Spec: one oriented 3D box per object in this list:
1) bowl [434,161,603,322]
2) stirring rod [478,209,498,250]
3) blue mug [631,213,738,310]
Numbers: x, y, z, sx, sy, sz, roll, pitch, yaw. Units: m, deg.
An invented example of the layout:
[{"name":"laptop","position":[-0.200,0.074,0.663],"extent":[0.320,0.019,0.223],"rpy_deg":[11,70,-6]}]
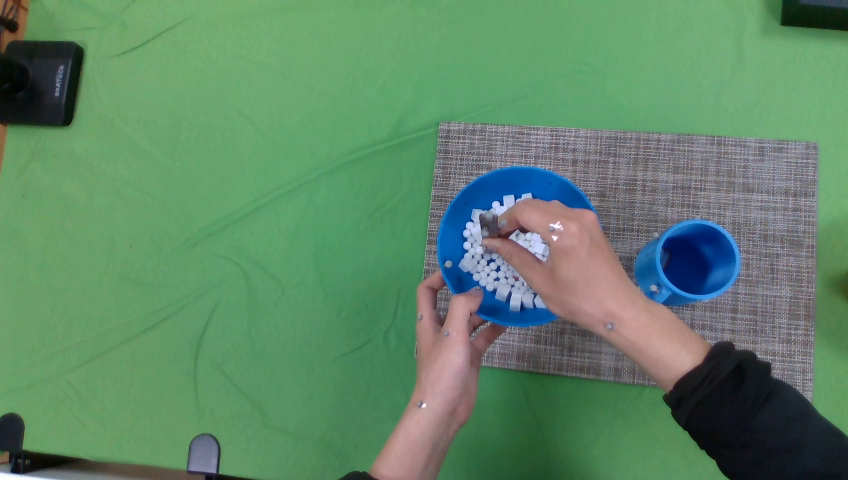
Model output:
[{"name":"bowl","position":[0.090,0.008,0.578],"extent":[0.151,0.077,0.150],"rpy_deg":[-2,77,9]},{"name":"stirring rod","position":[0.055,-0.006,0.505],"extent":[0.014,0.177,0.006],"rpy_deg":[-1,81,7]},{"name":"blue mug","position":[0.269,0.033,0.660],"extent":[0.082,0.106,0.116],"rpy_deg":[43,89,11]}]
